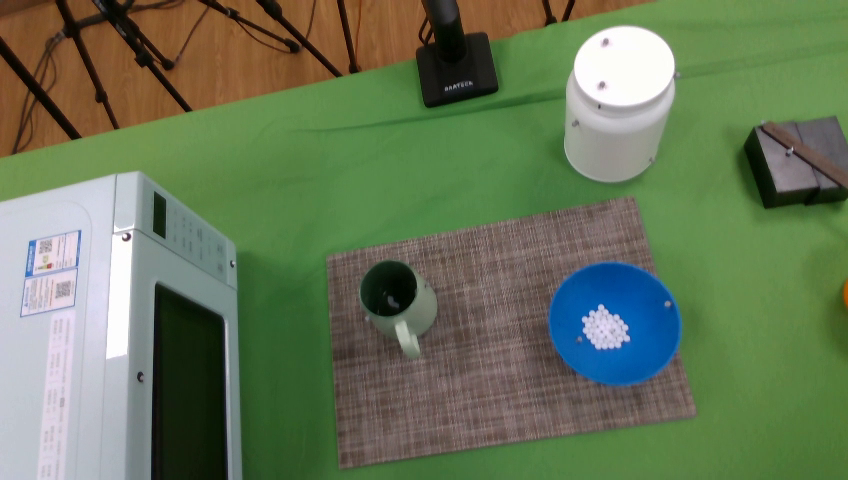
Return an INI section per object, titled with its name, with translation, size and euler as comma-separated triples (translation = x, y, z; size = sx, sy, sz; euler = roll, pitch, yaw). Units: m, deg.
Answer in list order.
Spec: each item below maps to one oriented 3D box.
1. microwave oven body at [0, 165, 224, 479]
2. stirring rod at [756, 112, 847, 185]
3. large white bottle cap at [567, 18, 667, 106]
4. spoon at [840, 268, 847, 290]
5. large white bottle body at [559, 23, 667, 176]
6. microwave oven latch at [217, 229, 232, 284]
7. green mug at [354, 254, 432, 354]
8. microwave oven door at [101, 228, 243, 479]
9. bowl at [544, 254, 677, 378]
[microwave oven body]
translation = -0.435, 0.184, 0.747
size = 0.326, 0.262, 0.438
euler = -12, 68, 6
[stirring rod]
translation = 0.492, -0.104, 0.756
size = 0.174, 0.006, 0.014
euler = 46, 118, 22
[large white bottle cap]
translation = 0.228, -0.211, 0.717
size = 0.114, 0.018, 0.114
euler = -3, 69, 9
[spoon]
translation = 0.566, 0.048, 0.665
size = 0.022, 0.192, 0.041
euler = 38, 72, -23
[large white bottle body]
translation = 0.243, -0.181, 0.794
size = 0.130, 0.186, 0.129
euler = -4, 69, 10
[microwave oven latch]
translation = -0.299, 0.026, 0.885
size = 0.030, 0.030, 0.078
euler = -12, 69, 6
[green mug]
translation = -0.035, 0.087, 0.789
size = 0.092, 0.106, 0.124
euler = -19, 67, 3
[microwave oven door]
translation = -0.287, 0.189, 0.710
size = 0.039, 0.246, 0.353
euler = -13, 68, 7
[bowl]
translation = 0.224, 0.100, 0.747
size = 0.151, 0.077, 0.150
euler = -4, 69, 11
